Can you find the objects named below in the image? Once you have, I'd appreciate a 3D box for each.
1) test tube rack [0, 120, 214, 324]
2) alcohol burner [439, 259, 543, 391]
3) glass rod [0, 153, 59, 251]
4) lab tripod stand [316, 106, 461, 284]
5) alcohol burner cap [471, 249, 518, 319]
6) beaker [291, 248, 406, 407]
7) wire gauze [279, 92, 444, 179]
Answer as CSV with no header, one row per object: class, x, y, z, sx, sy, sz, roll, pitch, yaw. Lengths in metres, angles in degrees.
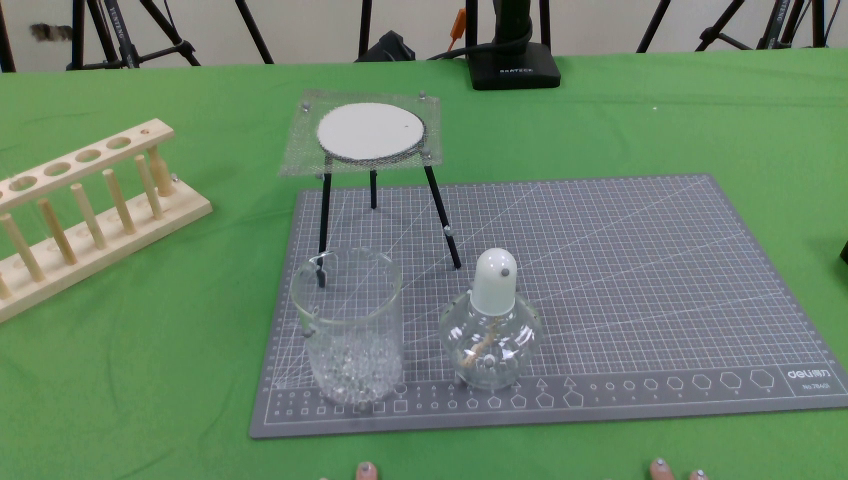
test tube rack,-0.325,-0.017,0.553,0.066,0.086,0.242,31,50,32
alcohol burner,0.049,0.055,0.438,0.078,0.120,0.077,0,43,0
glass rod,-0.360,-0.069,0.512,0.008,0.201,0.008,-5,38,4
lab tripod stand,-0.036,-0.039,0.532,0.148,0.132,0.147,1,40,0
alcohol burner cap,0.050,0.027,0.414,0.034,0.048,0.033,2,42,-1
beaker,-0.053,0.065,0.439,0.083,0.101,0.074,30,49,31
wire gauze,-0.046,-0.088,0.486,0.121,0.011,0.124,0,42,0
